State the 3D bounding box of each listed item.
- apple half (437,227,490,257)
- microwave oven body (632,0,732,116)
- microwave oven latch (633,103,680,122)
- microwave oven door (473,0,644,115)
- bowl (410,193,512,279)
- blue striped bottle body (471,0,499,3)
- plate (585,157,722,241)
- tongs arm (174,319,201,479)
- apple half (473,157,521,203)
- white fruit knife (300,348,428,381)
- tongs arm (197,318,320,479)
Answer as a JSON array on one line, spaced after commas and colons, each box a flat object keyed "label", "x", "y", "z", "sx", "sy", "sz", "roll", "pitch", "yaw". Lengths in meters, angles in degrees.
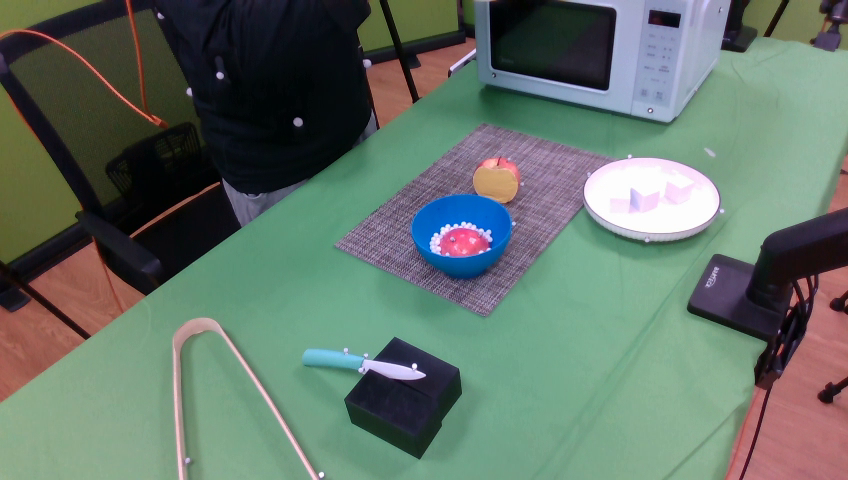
[{"label": "apple half", "x": 0.056, "y": 0.002, "z": 0.902, "sx": 0.081, "sy": 0.033, "sz": 0.081, "roll": -3, "pitch": 42, "yaw": 3}, {"label": "microwave oven body", "x": 0.377, "y": -0.463, "z": 1.267, "sx": 0.438, "sy": 0.261, "sz": 0.327, "roll": 21, "pitch": 48, "yaw": 30}, {"label": "microwave oven latch", "x": 0.443, "y": -0.249, "z": 1.157, "sx": 0.078, "sy": 0.029, "sz": 0.030, "roll": 20, "pitch": 48, "yaw": 30}, {"label": "microwave oven door", "x": 0.257, "y": -0.396, "z": 1.199, "sx": 0.353, "sy": 0.245, "sz": 0.039, "roll": 21, "pitch": 48, "yaw": 29}, {"label": "bowl", "x": 0.058, "y": 0.005, "z": 0.905, "sx": 0.151, "sy": 0.077, "sz": 0.150, "roll": -4, "pitch": 40, "yaw": 4}, {"label": "blue striped bottle body", "x": 0.083, "y": -0.377, "z": 0.781, "sx": 0.063, "sy": 0.121, "sz": 0.063, "roll": -7, "pitch": 33, "yaw": 5}, {"label": "plate", "x": 0.367, "y": -0.063, "z": 0.979, "sx": 0.207, "sy": 0.039, "sz": 0.206, "roll": -4, "pitch": 41, "yaw": 4}, {"label": "tongs arm", "x": -0.272, "y": 0.234, "z": 0.723, "sx": 0.051, "sy": 0.026, "sz": 0.381, "roll": -19, "pitch": 40, "yaw": -15}, {"label": "apple half", "x": 0.128, "y": -0.107, "z": 1.030, "sx": 0.080, "sy": 0.075, "sz": 0.053, "roll": 4, "pitch": 38, "yaw": 19}, {"label": "white fruit knife", "x": -0.080, "y": 0.154, "z": 0.748, "sx": 0.206, "sy": 0.027, "sz": 0.016, "roll": 1, "pitch": 20, "yaw": 34}, {"label": "tongs arm", "x": -0.200, "y": 0.207, "z": 0.750, "sx": 0.028, "sy": 0.028, "sz": 0.384, "roll": -31, "pitch": 45, "yaw": -22}]
